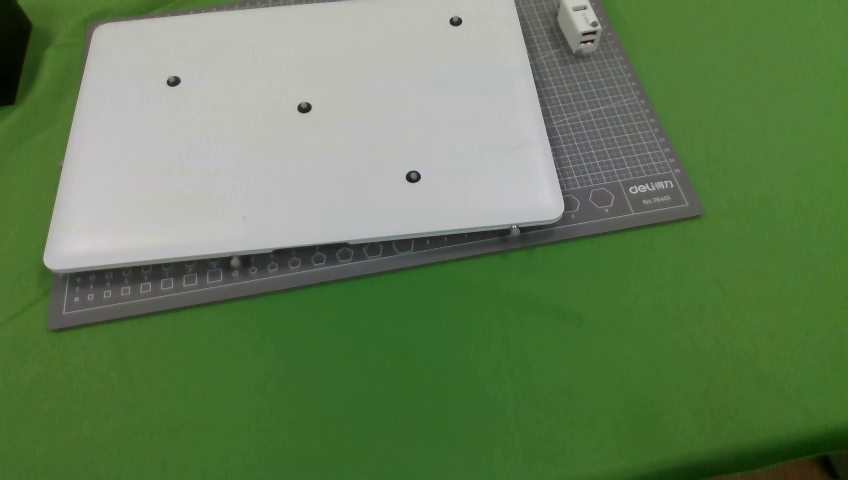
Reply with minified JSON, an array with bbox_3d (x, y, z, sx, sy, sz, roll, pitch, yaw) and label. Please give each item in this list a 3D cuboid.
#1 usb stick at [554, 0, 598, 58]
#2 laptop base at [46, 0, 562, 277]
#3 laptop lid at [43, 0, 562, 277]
[{"bbox_3d":[0.126,-0.185,0.515,0.021,0.027,0.058,-11,57,-5],"label":"usb stick"},{"bbox_3d":[-0.090,-0.090,0.470,0.354,0.023,0.233,-6,63,-3],"label":"laptop base"},{"bbox_3d":[-0.090,-0.094,0.458,0.357,0.013,0.239,-5,62,-2],"label":"laptop lid"}]
